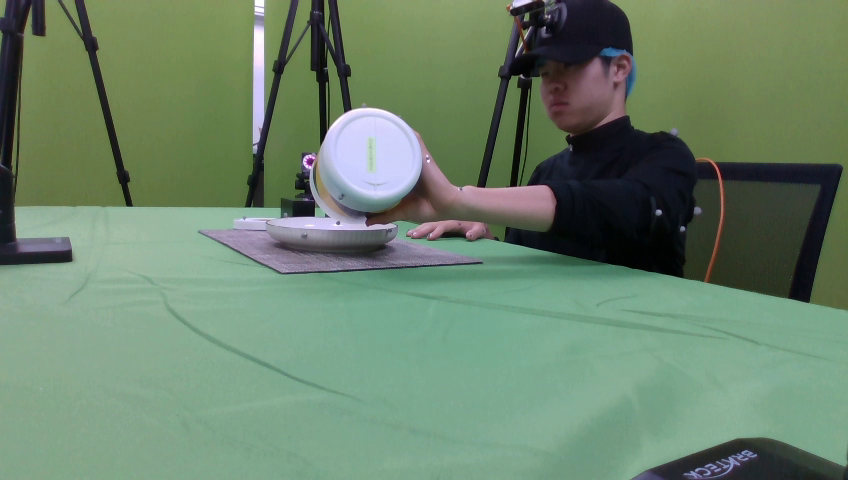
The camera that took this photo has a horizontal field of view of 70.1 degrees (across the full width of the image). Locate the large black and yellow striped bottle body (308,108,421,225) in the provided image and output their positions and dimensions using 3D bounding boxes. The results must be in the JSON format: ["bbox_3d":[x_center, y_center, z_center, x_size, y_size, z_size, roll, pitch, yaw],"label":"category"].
[{"bbox_3d":[-0.091,-0.094,0.852,0.131,0.130,0.183,0,-10,-18],"label":"large black and yellow striped bottle body"}]

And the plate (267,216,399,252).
[{"bbox_3d":[-0.145,-0.010,0.967,0.208,0.039,0.207,2,7,0],"label":"plate"}]

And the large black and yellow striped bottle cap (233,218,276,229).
[{"bbox_3d":[-0.311,-0.032,1.172,0.115,0.019,0.115,1,4,0],"label":"large black and yellow striped bottle cap"}]
